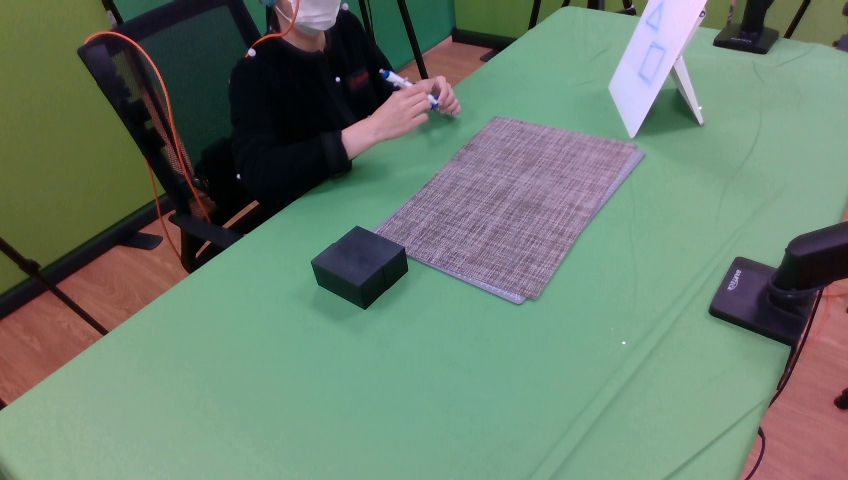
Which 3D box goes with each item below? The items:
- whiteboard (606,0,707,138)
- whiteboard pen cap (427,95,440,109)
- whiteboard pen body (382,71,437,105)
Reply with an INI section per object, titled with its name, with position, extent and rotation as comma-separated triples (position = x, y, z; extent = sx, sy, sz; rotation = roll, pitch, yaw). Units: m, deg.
[whiteboard]
position = 0.496, -0.359, 1.147
extent = 0.144, 0.305, 0.216
rotation = 12, 40, -7
[whiteboard pen cap]
position = 0.019, -0.277, 1.212
extent = 0.018, 0.018, 0.033
rotation = 15, 46, 24
[whiteboard pen body]
position = -0.023, -0.274, 1.104
extent = 0.142, 0.017, 0.017
rotation = 18, 19, -45
